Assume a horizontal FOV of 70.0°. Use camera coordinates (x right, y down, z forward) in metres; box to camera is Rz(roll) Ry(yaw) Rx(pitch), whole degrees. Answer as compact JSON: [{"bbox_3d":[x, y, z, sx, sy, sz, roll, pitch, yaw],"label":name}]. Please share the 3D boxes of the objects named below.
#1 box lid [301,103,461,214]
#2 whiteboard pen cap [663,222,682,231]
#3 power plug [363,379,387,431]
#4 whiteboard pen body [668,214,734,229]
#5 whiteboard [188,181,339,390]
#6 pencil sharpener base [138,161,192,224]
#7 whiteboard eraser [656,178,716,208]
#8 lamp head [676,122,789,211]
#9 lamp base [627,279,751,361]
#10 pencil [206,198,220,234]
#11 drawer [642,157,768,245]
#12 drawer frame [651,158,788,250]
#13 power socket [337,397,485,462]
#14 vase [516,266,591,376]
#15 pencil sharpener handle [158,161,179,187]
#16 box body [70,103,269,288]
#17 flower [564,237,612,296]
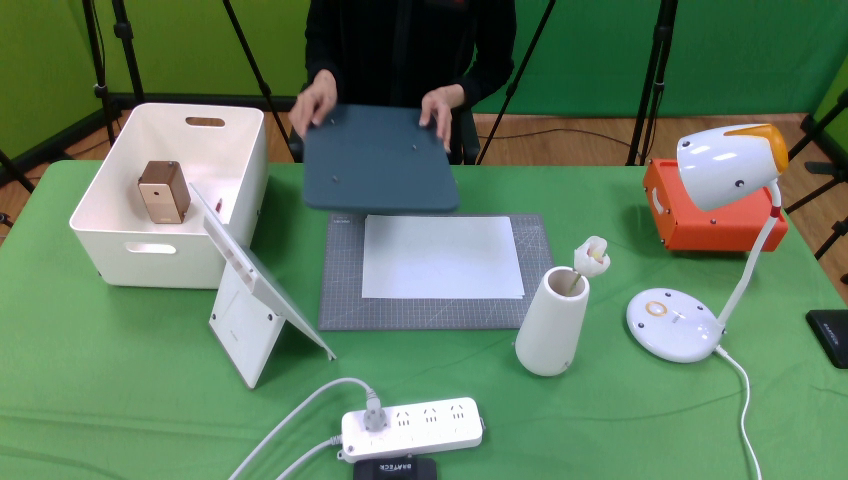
[{"bbox_3d":[-0.088,-0.158,1.107,0.264,0.015,0.369,0,38,-10],"label":"box lid"},{"bbox_3d":[0.487,-0.027,1.188,0.033,0.018,0.018,0,46,-14],"label":"whiteboard pen cap"},{"bbox_3d":[-0.072,0.252,0.910,0.035,0.053,0.072,3,45,-1],"label":"power plug"},{"bbox_3d":[0.547,-0.035,1.200,0.141,0.017,0.017,-8,48,-9],"label":"whiteboard pen body"},{"bbox_3d":[-0.292,0.096,0.929,0.144,0.307,0.216,-38,57,-11],"label":"whiteboard"},{"bbox_3d":[-0.502,-0.094,1.181,0.061,0.107,0.076,0,45,-2],"label":"pencil sharpener base"},{"bbox_3d":[0.538,-0.095,1.251,0.113,0.042,0.055,4,52,-10],"label":"whiteboard eraser"},{"bbox_3d":[0.423,-0.104,0.819,0.122,0.113,0.112,-13,33,40],"label":"lamp head"},{"bbox_3d":[0.459,0.100,1.027,0.178,0.181,0.160,27,51,17],"label":"lamp base"},{"bbox_3d":[-0.420,-0.018,1.181,0.012,0.012,0.193,2,46,-2],"label":"pencil"},{"bbox_3d":[0.564,-0.075,1.210,0.212,0.073,0.193,3,45,-1],"label":"drawer"},{"bbox_3d":[0.571,-0.074,1.213,0.214,0.083,0.200,1,46,0],"label":"drawer frame"},{"bbox_3d":[-0.018,0.285,0.915,0.227,0.033,0.071,-5,46,-8],"label":"power socket"},{"bbox_3d":[0.208,0.132,0.964,0.098,0.201,0.097,3,46,-3],"label":"vase"},{"bbox_3d":[-0.503,-0.138,1.208,0.036,0.068,0.030,3,45,-4],"label":"pencil sharpener handle"},{"bbox_3d":[-0.450,-0.087,1.148,0.254,0.161,0.361,2,46,-2],"label":"box body"},{"bbox_3d":[0.206,0.088,0.892,0.038,0.363,0.044,-16,67,-9],"label":"flower"}]
